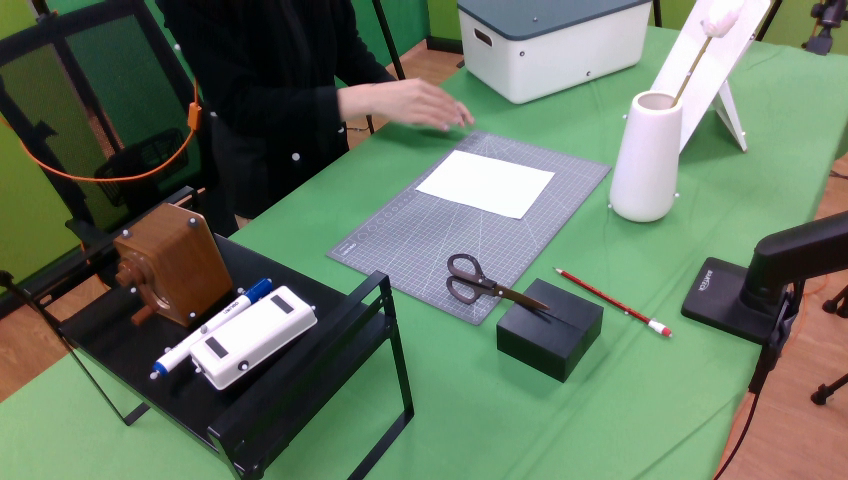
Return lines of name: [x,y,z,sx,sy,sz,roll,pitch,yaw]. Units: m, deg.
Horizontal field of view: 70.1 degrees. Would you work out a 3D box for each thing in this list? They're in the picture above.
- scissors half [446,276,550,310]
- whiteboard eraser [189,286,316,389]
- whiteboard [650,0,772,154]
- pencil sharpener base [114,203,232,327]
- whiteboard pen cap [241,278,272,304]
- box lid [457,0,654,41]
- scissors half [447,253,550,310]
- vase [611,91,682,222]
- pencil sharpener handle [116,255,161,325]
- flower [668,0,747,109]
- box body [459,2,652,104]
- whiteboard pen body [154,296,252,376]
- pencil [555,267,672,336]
scissors half: [0.098,0.077,0.827,0.174,0.040,0.013,6,14,44]
whiteboard eraser: [-0.166,0.096,0.593,0.113,0.042,0.055,-36,46,-29]
whiteboard: [0.543,-0.298,1.076,0.144,0.305,0.216,12,40,-7]
pencil sharpener base: [-0.262,0.029,0.636,0.061,0.107,0.077,18,47,26]
whiteboard pen cap: [-0.183,0.057,0.658,0.018,0.018,0.033,19,44,28]
box lid: [0.285,-0.522,1.323,0.373,0.015,0.261,-22,43,-16]
scissors half: [0.098,0.058,0.821,0.173,0.040,0.013,27,33,37]
vase: [0.348,-0.125,0.935,0.098,0.201,0.097,-3,40,3]
pencil sharpener handle: [-0.286,0.050,0.594,0.035,0.068,0.031,7,41,36]
flower: [0.354,-0.187,0.879,0.038,0.362,0.044,31,48,15]
box body: [0.291,-0.465,1.371,0.365,0.161,0.252,-22,42,-16]
whiteboard pen body: [-0.215,0.088,0.619,0.017,0.017,0.141,19,42,28]
pencil: [0.260,0.082,0.851,0.012,0.012,0.192,-33,45,-27]
